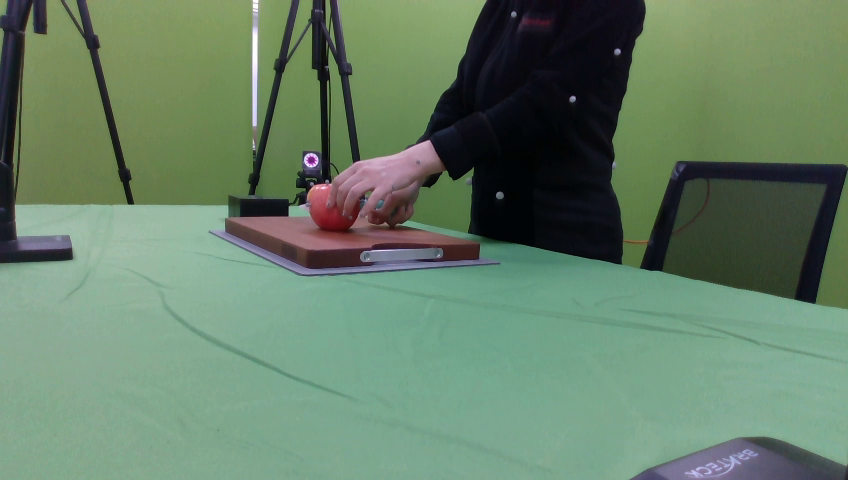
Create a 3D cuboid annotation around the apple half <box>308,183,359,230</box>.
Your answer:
[{"bbox_3d":[-0.136,-0.052,0.950,0.081,0.074,0.053,0,14,-38],"label":"apple half"}]

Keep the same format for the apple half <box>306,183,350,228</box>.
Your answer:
[{"bbox_3d":[-0.160,-0.056,0.981,0.082,0.081,0.032,-3,8,-36],"label":"apple half"}]

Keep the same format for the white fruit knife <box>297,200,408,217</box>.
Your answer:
[{"bbox_3d":[-0.113,-0.055,0.997,0.208,0.027,0.016,0,3,-38],"label":"white fruit knife"}]
